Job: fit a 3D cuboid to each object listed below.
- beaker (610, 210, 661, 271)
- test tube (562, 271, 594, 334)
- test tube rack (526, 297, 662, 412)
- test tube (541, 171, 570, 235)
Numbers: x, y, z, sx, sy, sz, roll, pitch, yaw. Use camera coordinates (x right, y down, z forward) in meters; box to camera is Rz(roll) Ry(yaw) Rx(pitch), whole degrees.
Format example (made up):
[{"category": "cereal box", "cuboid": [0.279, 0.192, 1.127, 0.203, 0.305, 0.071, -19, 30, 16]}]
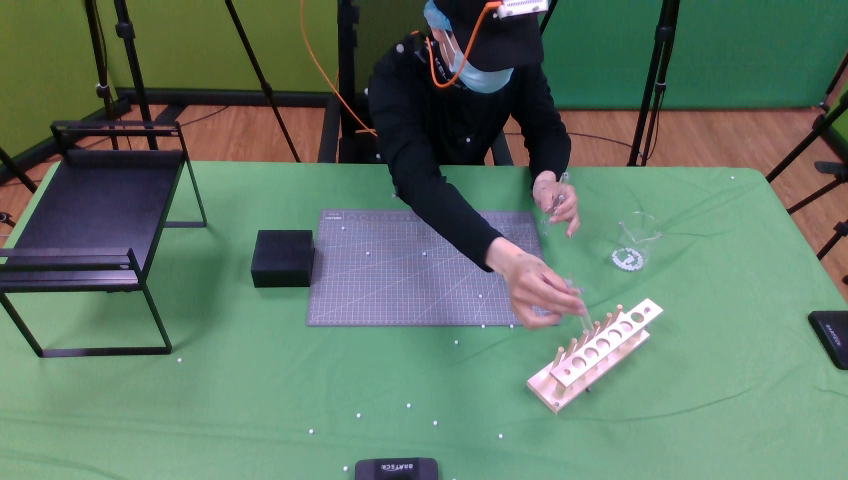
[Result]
[{"category": "beaker", "cuboid": [0.405, 0.005, 1.169, 0.074, 0.101, 0.083, 19, 49, 15]}, {"category": "test tube", "cuboid": [0.225, 0.093, 0.879, 0.017, 0.151, 0.017, -16, 46, 17]}, {"category": "test tube rack", "cuboid": [0.284, 0.176, 1.007, 0.242, 0.085, 0.066, -28, 54, -27]}, {"category": "test tube", "cuboid": [0.239, -0.064, 1.106, 0.017, 0.151, 0.017, 5, 45, -5]}]
